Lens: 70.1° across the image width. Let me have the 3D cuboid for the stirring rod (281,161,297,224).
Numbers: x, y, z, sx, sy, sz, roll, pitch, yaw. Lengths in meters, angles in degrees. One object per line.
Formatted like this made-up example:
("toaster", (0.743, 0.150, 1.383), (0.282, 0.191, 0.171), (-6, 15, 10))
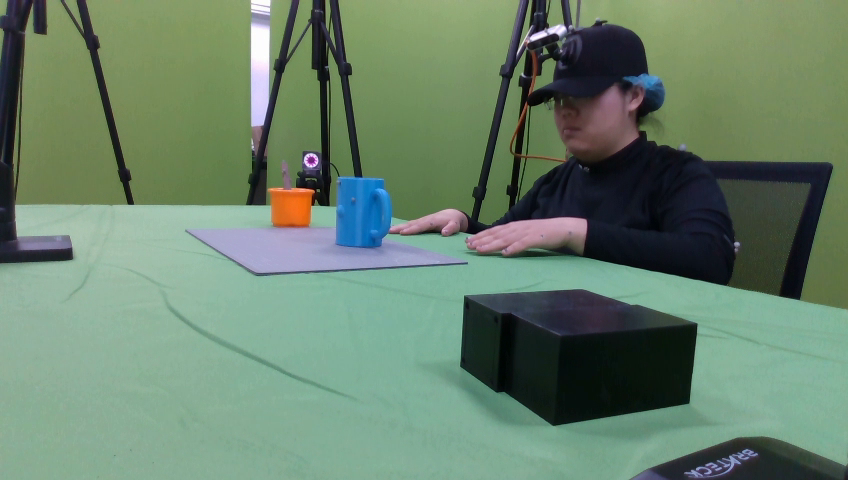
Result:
("stirring rod", (-0.278, -0.099, 1.239), (0.014, 0.006, 0.175), (2, 49, -25))

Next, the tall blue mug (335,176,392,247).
("tall blue mug", (-0.089, -0.046, 0.971), (0.107, 0.108, 0.078), (5, 7, 20))
